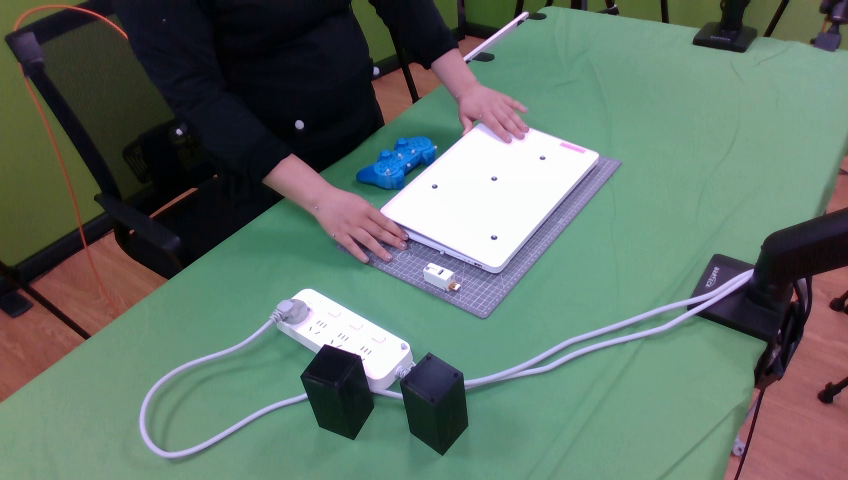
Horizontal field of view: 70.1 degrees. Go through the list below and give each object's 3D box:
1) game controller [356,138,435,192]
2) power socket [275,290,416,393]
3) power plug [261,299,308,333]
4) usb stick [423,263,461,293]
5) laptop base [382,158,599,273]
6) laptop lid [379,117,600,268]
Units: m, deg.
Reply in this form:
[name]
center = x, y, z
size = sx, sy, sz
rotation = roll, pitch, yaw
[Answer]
[game controller]
center = -0.049, -0.149, 1.136
size = 0.096, 0.052, 0.155
rotation = 27, 51, 28
[power socket]
center = -0.114, 0.133, 0.821
size = 0.225, 0.033, 0.072
rotation = 24, 48, 32
[power plug]
center = -0.193, 0.109, 0.830
size = 0.073, 0.053, 0.035
rotation = -36, 48, -23
[usb stick]
center = 0.028, 0.058, 0.889
size = 0.059, 0.027, 0.021
rotation = 25, 46, 29
[laptop base]
center = 0.124, -0.081, 1.049
size = 0.233, 0.023, 0.355
rotation = 20, 47, 33
[laptop lid]
center = 0.120, -0.100, 1.034
size = 0.240, 0.013, 0.358
rotation = 27, 51, 28
